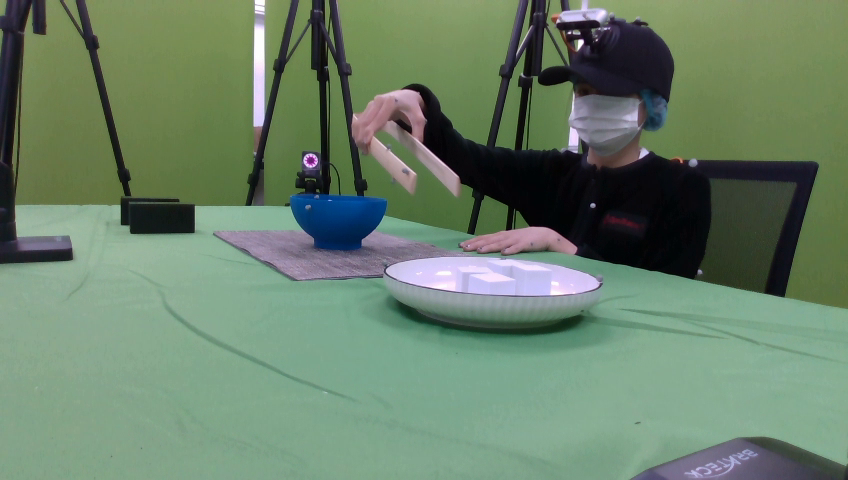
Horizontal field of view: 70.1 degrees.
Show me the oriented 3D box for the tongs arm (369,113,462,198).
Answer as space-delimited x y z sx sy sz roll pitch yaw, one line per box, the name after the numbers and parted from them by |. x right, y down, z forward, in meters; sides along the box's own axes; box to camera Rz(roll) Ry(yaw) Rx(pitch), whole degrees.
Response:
-0.021 -0.130 0.851 0.028 0.028 0.386 -5 23 -17 | tongs arm

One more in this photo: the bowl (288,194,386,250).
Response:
-0.135 -0.028 0.936 0.151 0.077 0.151 3 7 0 | bowl

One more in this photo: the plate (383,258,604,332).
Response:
0.064 0.051 0.582 0.209 0.038 0.209 3 7 0 | plate

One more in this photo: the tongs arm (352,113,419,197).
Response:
-0.052 -0.130 0.841 0.051 0.026 0.383 -3 23 -20 | tongs arm
